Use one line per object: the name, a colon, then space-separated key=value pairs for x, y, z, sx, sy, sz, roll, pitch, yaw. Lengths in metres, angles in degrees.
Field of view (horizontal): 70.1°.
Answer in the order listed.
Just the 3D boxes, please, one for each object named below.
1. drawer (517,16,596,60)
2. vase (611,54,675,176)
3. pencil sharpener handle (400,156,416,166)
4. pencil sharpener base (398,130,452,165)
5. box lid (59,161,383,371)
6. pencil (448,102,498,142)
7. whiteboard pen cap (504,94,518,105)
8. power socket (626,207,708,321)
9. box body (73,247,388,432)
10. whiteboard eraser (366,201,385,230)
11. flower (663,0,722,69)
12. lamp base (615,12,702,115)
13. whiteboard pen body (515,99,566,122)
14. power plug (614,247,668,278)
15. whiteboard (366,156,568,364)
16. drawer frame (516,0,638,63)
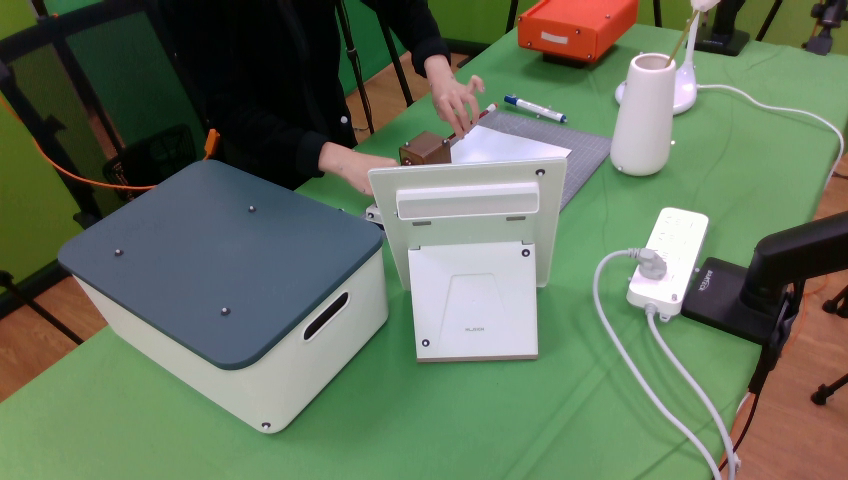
drawer: x=0.353 y=-0.506 z=1.405 sx=0.193 sy=0.073 sz=0.212 roll=23 pitch=49 yaw=32
vase: x=0.377 y=-0.209 z=1.031 sx=0.098 sy=0.201 sz=0.097 roll=-3 pitch=40 yaw=3
pencil sharpener handle: x=-0.030 y=-0.104 z=1.012 sx=0.035 sy=0.068 sz=0.031 roll=16 pitch=45 yaw=44
pencil sharpener base: x=0.004 y=-0.123 z=1.049 sx=0.061 sy=0.107 sz=0.077 roll=28 pitch=52 yaw=34
box lid: x=-0.262 y=0.010 z=0.777 sx=0.369 sy=0.015 sz=0.264 roll=21 pitch=48 yaw=29
pencil: x=0.072 y=-0.200 z=1.086 sx=0.012 sy=0.012 sz=0.194 roll=27 pitch=53 yaw=33
whiteboard pen cap: x=0.190 y=-0.299 z=1.292 sx=0.033 sy=0.018 sz=0.018 roll=30 pitch=52 yaw=28
power socket: x=0.359 y=0.025 z=0.886 sx=0.072 sy=0.033 sz=0.227 roll=16 pitch=46 yaw=26
box body: x=-0.255 y=0.065 z=0.827 sx=0.361 sy=0.161 sz=0.255 roll=21 pitch=48 yaw=29
whiteboard eraser: x=-0.038 y=-0.038 z=1.006 sx=0.112 sy=0.042 sz=0.055 roll=16 pitch=48 yaw=25
flower: x=0.379 y=-0.261 z=0.965 sx=0.044 sy=0.362 sz=0.038 roll=20 pitch=53 yaw=5
lamp base: x=0.484 y=-0.364 z=1.211 sx=0.180 sy=0.181 sz=0.159 roll=-15 pitch=41 yaw=-14
whiteboard pen body: x=0.234 y=-0.274 z=1.262 sx=0.139 sy=0.017 sz=0.017 roll=28 pitch=51 yaw=29
power plug: x=0.306 y=0.031 z=0.851 sx=0.072 sy=0.053 sz=0.035 roll=24 pitch=49 yaw=33
whiteboard: x=0.059 y=0.050 z=0.738 sx=0.217 sy=0.307 sz=0.143 roll=-2 pitch=60 yaw=6
drawer frame: x=0.355 y=-0.508 z=1.410 sx=0.200 sy=0.083 sz=0.214 roll=23 pitch=51 yaw=32
